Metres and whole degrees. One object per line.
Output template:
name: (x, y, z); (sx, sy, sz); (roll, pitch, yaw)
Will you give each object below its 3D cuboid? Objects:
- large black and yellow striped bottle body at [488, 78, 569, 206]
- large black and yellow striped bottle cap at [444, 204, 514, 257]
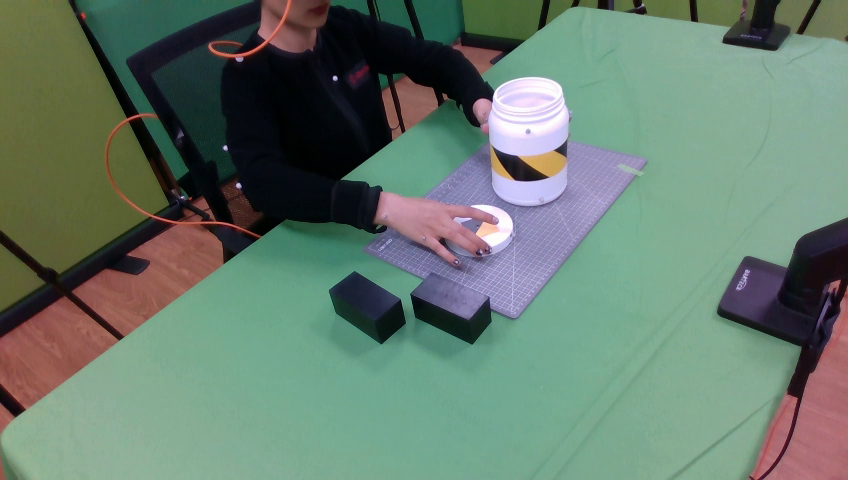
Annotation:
large black and yellow striped bottle body: (0.176, -0.164, 1.012); (0.131, 0.185, 0.130); (-5, 40, 5)
large black and yellow striped bottle cap: (0.089, -0.017, 0.985); (0.115, 0.019, 0.114); (-4, 42, 4)
